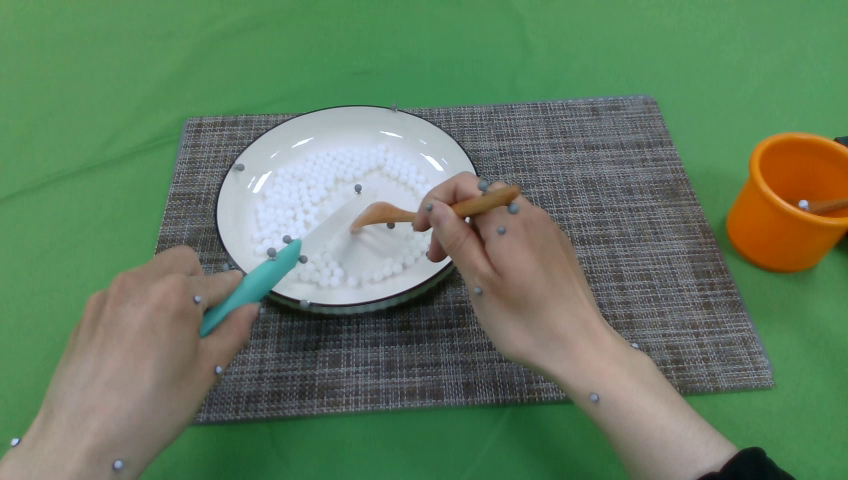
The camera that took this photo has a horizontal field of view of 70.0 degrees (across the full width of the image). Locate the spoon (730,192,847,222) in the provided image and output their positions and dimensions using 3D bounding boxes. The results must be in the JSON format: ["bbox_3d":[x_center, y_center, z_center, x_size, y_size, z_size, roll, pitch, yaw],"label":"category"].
[{"bbox_3d":[0.309,-0.028,0.424,0.041,0.192,0.022,-33,104,-25],"label":"spoon"}]

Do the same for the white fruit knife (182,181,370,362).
[{"bbox_3d":[-0.096,0.009,0.436,0.016,0.027,0.206,21,42,19],"label":"white fruit knife"}]

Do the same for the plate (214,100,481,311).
[{"bbox_3d":[-0.058,-0.030,0.488,0.209,0.038,0.207,0,54,0],"label":"plate"}]

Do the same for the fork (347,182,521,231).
[{"bbox_3d":[-0.005,-0.021,0.399,0.028,0.019,0.206,-47,23,-25],"label":"fork"}]
